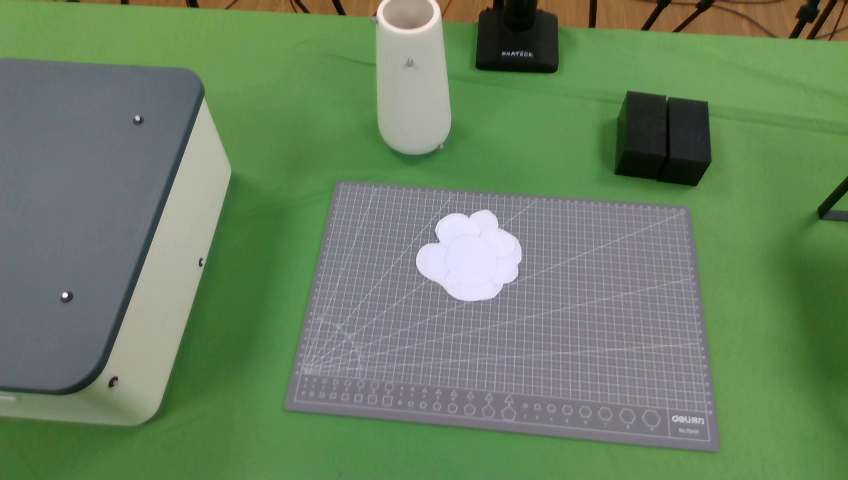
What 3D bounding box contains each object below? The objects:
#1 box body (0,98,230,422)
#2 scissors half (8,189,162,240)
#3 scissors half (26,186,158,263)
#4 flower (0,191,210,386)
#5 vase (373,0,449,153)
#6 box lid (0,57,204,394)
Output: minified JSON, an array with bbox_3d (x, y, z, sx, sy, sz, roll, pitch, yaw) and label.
[{"bbox_3d":[-0.382,0.000,0.653,0.254,0.162,0.361,3,60,3],"label":"box body"},{"bbox_3d":[-0.413,-0.027,0.741,0.175,0.040,0.012,-19,30,-12],"label":"scissors half"},{"bbox_3d":[-0.409,-0.015,0.747,0.175,0.040,0.012,-27,25,-6],"label":"scissors half"},{"bbox_3d":[-0.379,0.039,0.729,0.038,0.044,0.360,-7,32,35],"label":"flower"},{"bbox_3d":[-0.018,-0.198,0.743,0.098,0.201,0.097,-1,58,2],"label":"vase"},{"bbox_3d":[-0.383,-0.040,0.589,0.263,0.015,0.368,4,60,2],"label":"box lid"}]
